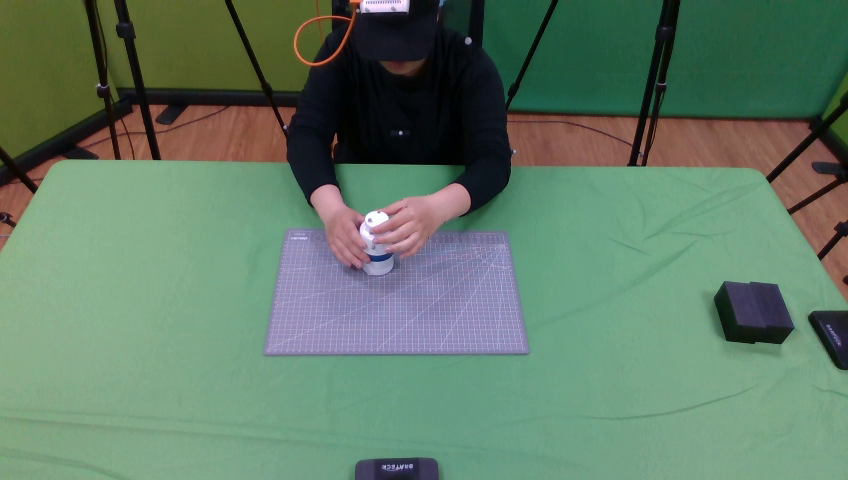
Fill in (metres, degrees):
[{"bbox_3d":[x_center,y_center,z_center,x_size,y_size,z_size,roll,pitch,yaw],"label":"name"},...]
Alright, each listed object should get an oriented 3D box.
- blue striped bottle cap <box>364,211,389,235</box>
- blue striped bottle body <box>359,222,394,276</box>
[{"bbox_3d":[-0.085,-0.031,1.079,0.044,0.021,0.044,3,47,-2],"label":"blue striped bottle cap"},{"bbox_3d":[-0.088,0.005,1.115,0.063,0.121,0.062,2,45,-2],"label":"blue striped bottle body"}]
